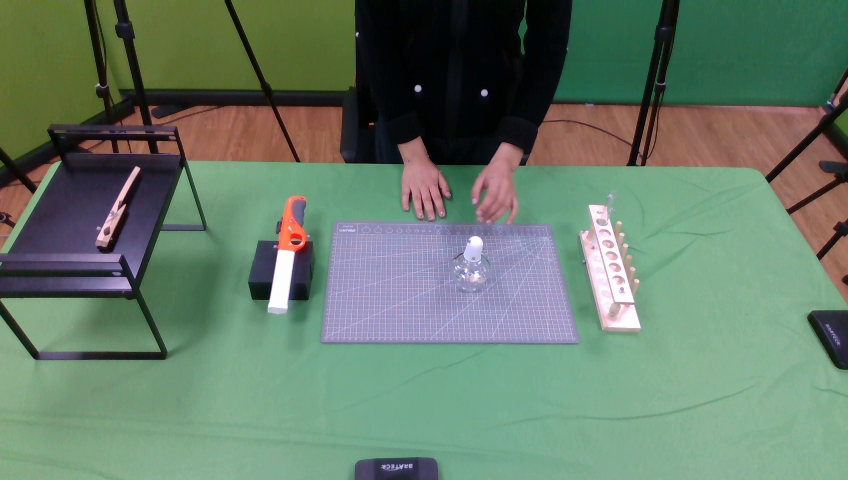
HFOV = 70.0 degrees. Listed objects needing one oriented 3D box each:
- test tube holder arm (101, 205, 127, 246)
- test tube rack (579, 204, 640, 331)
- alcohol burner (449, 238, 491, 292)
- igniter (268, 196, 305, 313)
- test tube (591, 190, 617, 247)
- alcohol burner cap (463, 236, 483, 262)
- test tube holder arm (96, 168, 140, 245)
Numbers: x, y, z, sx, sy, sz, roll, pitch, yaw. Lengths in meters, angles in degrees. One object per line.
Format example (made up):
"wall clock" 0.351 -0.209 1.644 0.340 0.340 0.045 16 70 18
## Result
"test tube holder arm" -0.480 -0.024 0.938 0.010 0.015 0.087 27 37 -26
"test tube rack" 0.353 0.047 1.137 0.067 0.085 0.241 2 46 -2
"alcohol burner" 0.086 0.038 1.101 0.078 0.119 0.077 3 45 -2
"igniter" -0.248 0.016 1.095 0.057 0.025 0.274 8 46 -12
"test tube" 0.340 -0.038 1.149 0.017 0.151 0.017 1 50 -1
"alcohol burner cap" 0.089 0.013 1.075 0.034 0.048 0.033 4 47 -4
"test tube holder arm" -0.486 -0.058 0.968 0.013 0.015 0.177 27 37 -27
